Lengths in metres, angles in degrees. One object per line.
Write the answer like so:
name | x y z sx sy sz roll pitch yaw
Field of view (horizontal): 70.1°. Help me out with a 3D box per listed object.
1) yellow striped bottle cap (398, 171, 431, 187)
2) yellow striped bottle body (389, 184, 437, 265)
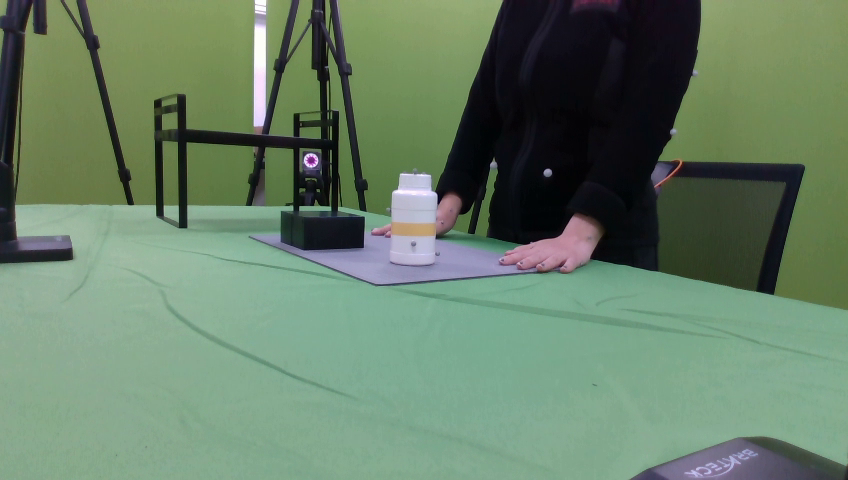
yellow striped bottle cap | -0.012 -0.082 0.809 0.044 0.018 0.044 4 9 0
yellow striped bottle body | -0.014 -0.030 0.816 0.063 0.120 0.063 2 7 0
